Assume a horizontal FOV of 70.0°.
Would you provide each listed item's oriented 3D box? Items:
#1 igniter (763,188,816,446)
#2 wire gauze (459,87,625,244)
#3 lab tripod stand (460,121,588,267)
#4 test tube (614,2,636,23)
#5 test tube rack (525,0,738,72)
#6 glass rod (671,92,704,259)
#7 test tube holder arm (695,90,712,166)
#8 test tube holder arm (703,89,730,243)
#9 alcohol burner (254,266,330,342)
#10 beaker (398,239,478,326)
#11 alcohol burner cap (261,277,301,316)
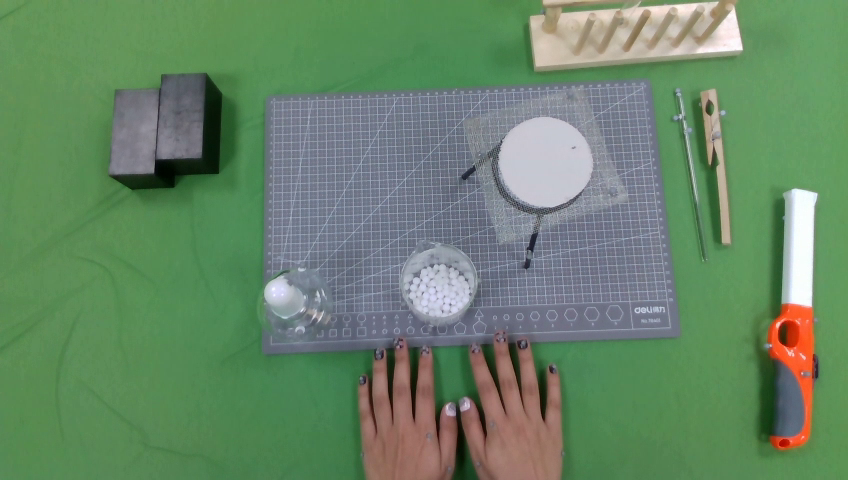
[{"bbox_3d":[0.390,0.079,0.644,0.057,0.025,0.275,11,79,-7],"label":"igniter"},{"bbox_3d":[0.105,-0.071,0.553,0.121,0.011,0.124,-17,79,-1],"label":"wire gauze"},{"bbox_3d":[0.103,-0.055,0.618,0.148,0.132,0.147,0,79,3],"label":"lab tripod stand"},{"bbox_3d":[0.231,-0.276,0.639,0.017,0.150,0.017,1,77,-3],"label":"test tube"},{"bbox_3d":[0.243,-0.251,0.684,0.242,0.085,0.066,-5,78,0],"label":"test tube rack"},{"bbox_3d":[0.297,-0.076,0.686,0.008,0.008,0.198,-4,78,0],"label":"glass rod"},{"bbox_3d":[0.321,-0.128,0.693,0.010,0.015,0.087,-10,76,33],"label":"test tube holder arm"},{"bbox_3d":[0.328,-0.084,0.681,0.013,0.015,0.177,-10,76,33],"label":"test tube holder arm"},{"bbox_3d":[-0.136,0.061,0.608,0.078,0.119,0.077,0,76,2],"label":"alcohol burner"},{"bbox_3d":[0.012,0.047,0.616,0.074,0.100,0.083,-24,78,-4],"label":"beaker"},{"bbox_3d":[-0.138,0.051,0.573,0.034,0.048,0.033,0,68,0],"label":"alcohol burner cap"}]
